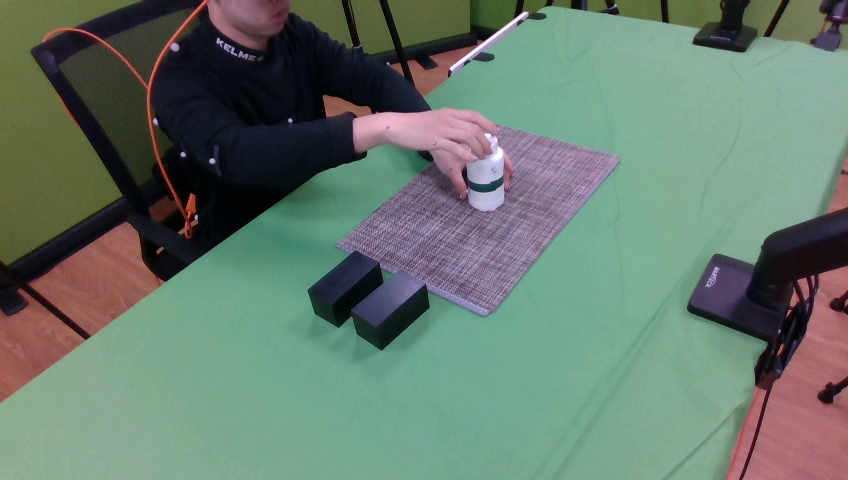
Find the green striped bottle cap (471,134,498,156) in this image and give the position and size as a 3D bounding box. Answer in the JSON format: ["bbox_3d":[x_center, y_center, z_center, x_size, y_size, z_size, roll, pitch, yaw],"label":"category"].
[{"bbox_3d":[0.097,-0.152,0.971,0.044,0.020,0.044,-6,37,5],"label":"green striped bottle cap"}]

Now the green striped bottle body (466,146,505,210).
[{"bbox_3d":[0.102,-0.114,1.005,0.063,0.120,0.063,-4,41,4],"label":"green striped bottle body"}]
